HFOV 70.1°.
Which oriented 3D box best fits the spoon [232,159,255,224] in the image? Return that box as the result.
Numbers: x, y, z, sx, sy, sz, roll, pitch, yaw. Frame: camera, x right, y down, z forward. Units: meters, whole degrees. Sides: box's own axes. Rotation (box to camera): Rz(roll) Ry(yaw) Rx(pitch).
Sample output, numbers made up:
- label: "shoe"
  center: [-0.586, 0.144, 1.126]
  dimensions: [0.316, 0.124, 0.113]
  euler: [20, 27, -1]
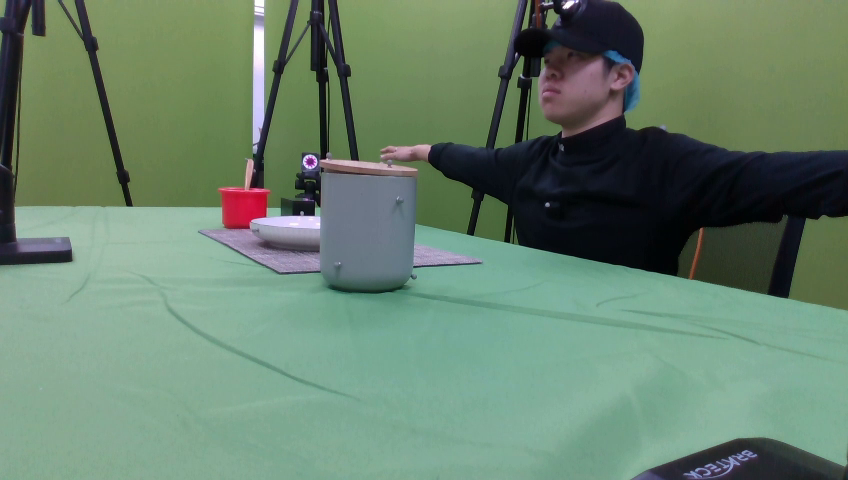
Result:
- label: "spoon"
  center: [-0.356, -0.101, 1.218]
  dimensions: [0.042, 0.021, 0.193]
  euler: [1, 51, -9]

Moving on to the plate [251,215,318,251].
- label: "plate"
  center: [-0.170, -0.012, 0.971]
  dimensions: [0.208, 0.039, 0.207]
  euler: [2, 7, 0]

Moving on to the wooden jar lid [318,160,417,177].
- label: "wooden jar lid"
  center: [-0.063, -0.073, 0.665]
  dimensions: [0.108, 0.020, 0.108]
  euler: [5, 9, 0]

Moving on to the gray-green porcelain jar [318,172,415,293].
- label: "gray-green porcelain jar"
  center: [-0.064, -0.010, 0.672]
  dimensions: [0.106, 0.126, 0.106]
  euler: [3, 7, 0]
